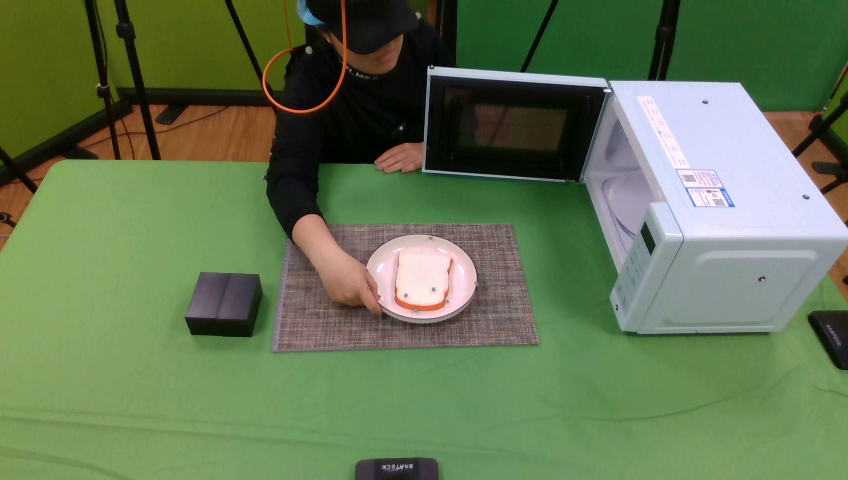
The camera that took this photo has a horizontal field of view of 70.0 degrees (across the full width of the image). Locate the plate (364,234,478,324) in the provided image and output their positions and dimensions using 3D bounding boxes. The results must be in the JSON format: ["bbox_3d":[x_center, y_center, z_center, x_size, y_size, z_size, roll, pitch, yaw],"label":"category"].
[{"bbox_3d":[-0.005,0.074,1.111,0.209,0.038,0.208,2,45,-2],"label":"plate"}]

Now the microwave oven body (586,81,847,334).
[{"bbox_3d":[0.501,-0.070,1.132,0.326,0.261,0.438,-1,45,-3],"label":"microwave oven body"}]

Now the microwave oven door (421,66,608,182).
[{"bbox_3d":[0.177,-0.236,1.263,0.356,0.245,0.039,4,46,0],"label":"microwave oven door"}]

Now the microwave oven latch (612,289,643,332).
[{"bbox_3d":[0.357,0.124,1.068,0.030,0.029,0.078,0,45,-3],"label":"microwave oven latch"}]

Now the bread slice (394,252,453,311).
[{"bbox_3d":[-0.002,0.075,1.112,0.105,0.019,0.131,5,46,1],"label":"bread slice"}]
